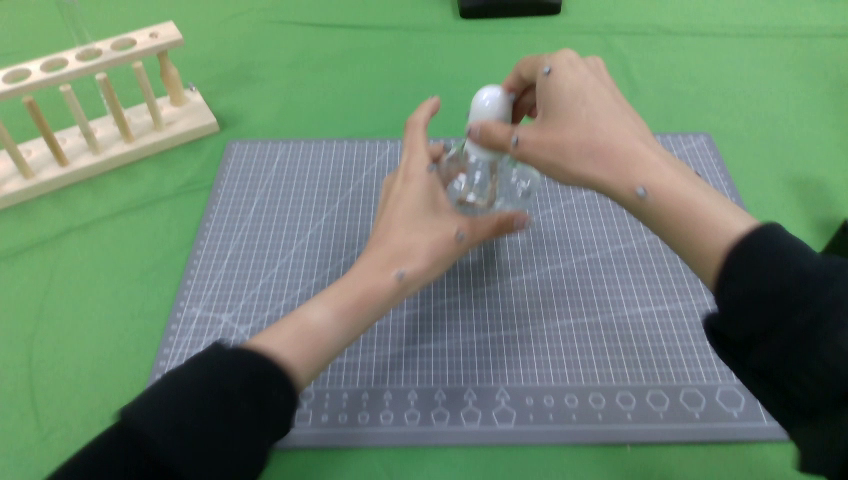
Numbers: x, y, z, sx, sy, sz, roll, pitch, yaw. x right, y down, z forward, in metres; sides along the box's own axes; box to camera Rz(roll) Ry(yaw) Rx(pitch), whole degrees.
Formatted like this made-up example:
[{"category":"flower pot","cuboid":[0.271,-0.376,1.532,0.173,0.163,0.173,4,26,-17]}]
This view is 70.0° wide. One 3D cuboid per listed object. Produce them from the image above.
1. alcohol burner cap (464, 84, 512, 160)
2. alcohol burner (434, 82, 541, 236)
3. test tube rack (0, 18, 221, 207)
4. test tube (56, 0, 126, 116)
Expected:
[{"category":"alcohol burner cap","cuboid":[0.044,-0.082,0.408,0.034,0.048,0.033,-1,43,1]},{"category":"alcohol burner","cuboid":[0.046,-0.060,0.430,0.078,0.120,0.077,-1,46,1]},{"category":"test tube rack","cuboid":[-0.316,-0.107,0.529,0.242,0.086,0.066,-25,53,-19]},{"category":"test tube","cuboid":[-0.290,-0.173,0.516,0.017,0.151,0.017,-3,41,3]}]
